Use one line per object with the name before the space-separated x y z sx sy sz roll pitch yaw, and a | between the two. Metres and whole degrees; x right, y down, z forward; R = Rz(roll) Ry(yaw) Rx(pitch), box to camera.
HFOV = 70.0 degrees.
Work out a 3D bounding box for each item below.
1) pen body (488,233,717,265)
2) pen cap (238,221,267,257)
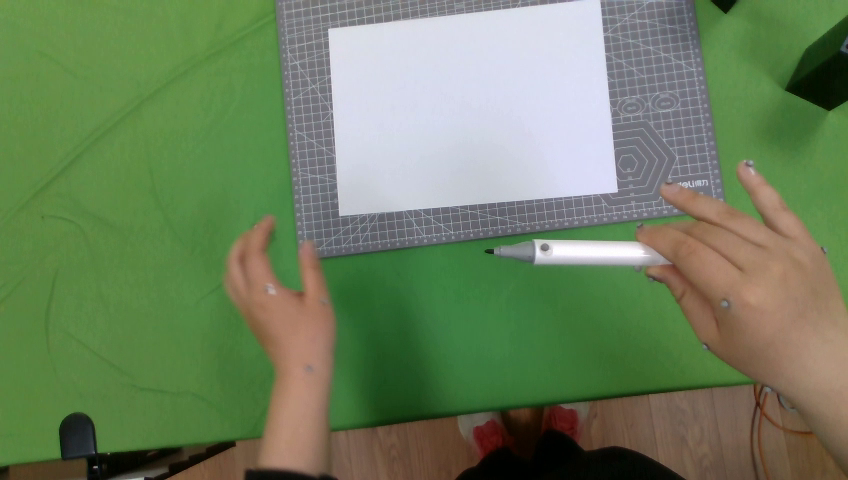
pen body | 0.112 0.006 0.383 0.144 0.017 0.017 -2 85 -3
pen cap | -0.187 0.000 0.659 0.017 0.017 0.038 31 88 8
